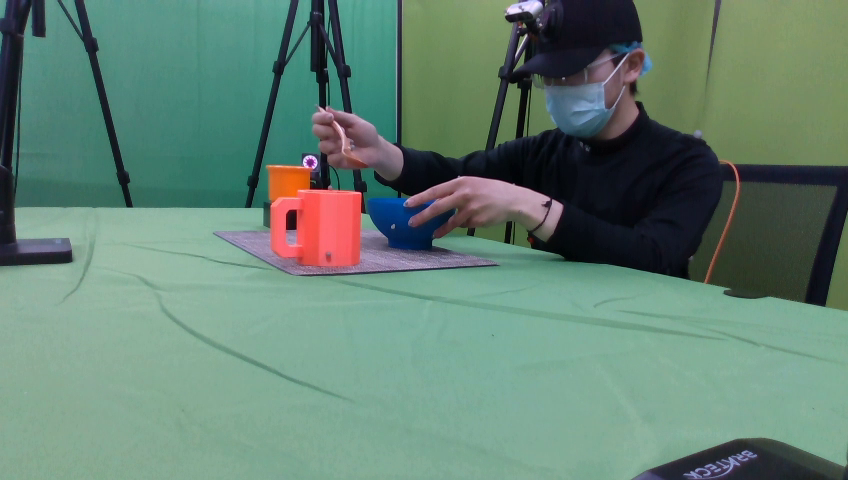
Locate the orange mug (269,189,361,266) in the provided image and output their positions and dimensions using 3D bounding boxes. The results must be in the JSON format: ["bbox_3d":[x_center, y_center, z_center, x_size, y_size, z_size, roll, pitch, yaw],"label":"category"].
[{"bbox_3d":[-0.142,-0.019,0.796,0.127,0.100,0.083,2,6,-39],"label":"orange mug"}]

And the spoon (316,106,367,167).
[{"bbox_3d":[-0.132,-0.164,0.934,0.042,0.021,0.193,24,24,-42],"label":"spoon"}]

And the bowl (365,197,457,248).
[{"bbox_3d":[-0.022,-0.029,1.000,0.151,0.077,0.151,2,7,0],"label":"bowl"}]
